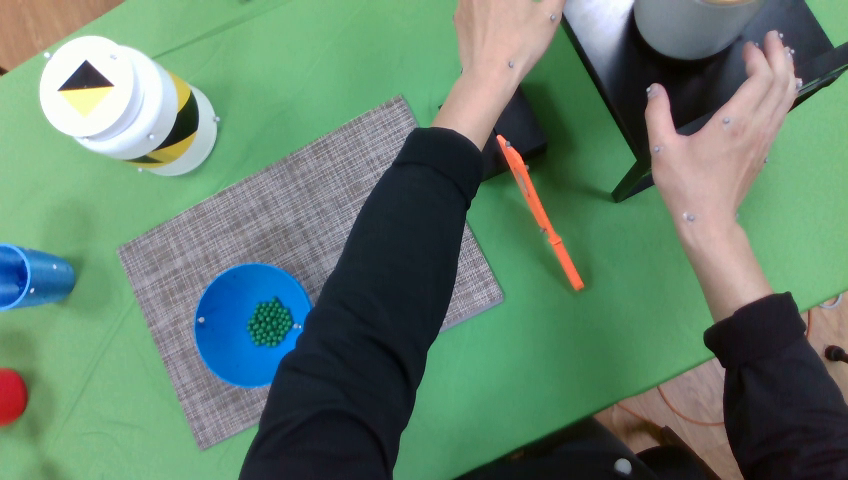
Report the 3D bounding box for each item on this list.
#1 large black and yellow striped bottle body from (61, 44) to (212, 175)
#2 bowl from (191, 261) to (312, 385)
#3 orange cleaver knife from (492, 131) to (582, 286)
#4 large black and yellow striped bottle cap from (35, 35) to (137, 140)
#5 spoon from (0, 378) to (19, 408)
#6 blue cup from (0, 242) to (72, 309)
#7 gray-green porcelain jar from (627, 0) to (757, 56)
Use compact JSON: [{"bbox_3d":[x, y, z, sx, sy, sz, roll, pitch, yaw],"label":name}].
[{"bbox_3d":[-0.367,-0.162,0.759,0.130,0.184,0.130,-1,85,8],"label":"large black and yellow striped bottle body"},{"bbox_3d":[-0.205,0.102,0.765,0.151,0.077,0.151,-1,86,9],"label":"bowl"},{"bbox_3d":[0.135,-0.036,0.727,0.012,0.076,0.213,-31,112,1],"label":"orange cleaver knife"},{"bbox_3d":[-0.378,-0.171,0.677,0.115,0.019,0.115,-1,87,9],"label":"large black and yellow striped bottle cap"},{"bbox_3d":[-0.645,0.226,0.792,0.194,0.021,0.041,-14,83,-37],"label":"spoon"},{"bbox_3d":[-0.532,0.049,0.809,0.092,0.100,0.092,0,86,7],"label":"blue cup"},{"bbox_3d":[0.236,-0.227,0.523,0.105,0.127,0.105,-1,85,9],"label":"gray-green porcelain jar"}]
